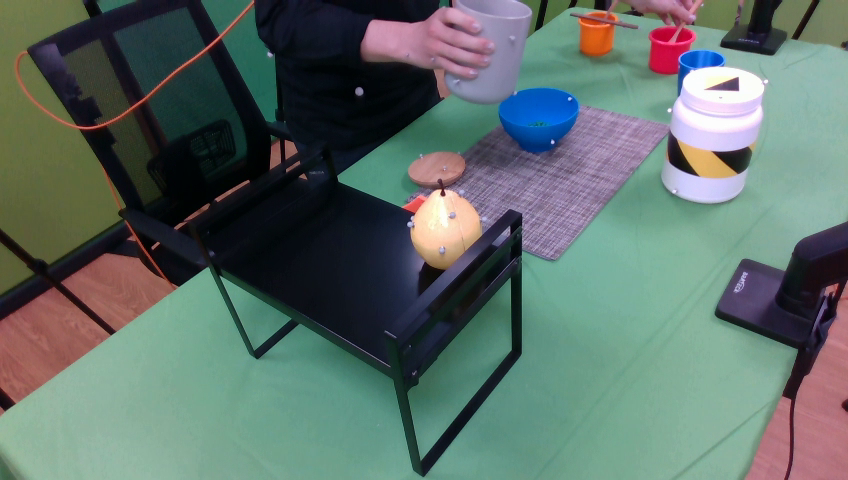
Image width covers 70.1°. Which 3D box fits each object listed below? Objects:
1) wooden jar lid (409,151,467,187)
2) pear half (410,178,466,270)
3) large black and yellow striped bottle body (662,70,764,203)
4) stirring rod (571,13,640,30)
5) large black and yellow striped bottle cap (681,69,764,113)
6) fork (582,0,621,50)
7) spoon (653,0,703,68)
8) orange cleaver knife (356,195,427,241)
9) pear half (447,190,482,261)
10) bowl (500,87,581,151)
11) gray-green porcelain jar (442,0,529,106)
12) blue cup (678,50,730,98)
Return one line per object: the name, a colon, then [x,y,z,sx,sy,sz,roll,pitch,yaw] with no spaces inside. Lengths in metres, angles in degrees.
wooden jar lid: [0.026,-0.131,1.124,0.108,0.021,0.108,-8,36,6]
pear half: [0.011,-0.019,0.654,0.056,0.110,0.076,-16,37,-9]
large black and yellow striped bottle body: [0.464,-0.166,0.976,0.131,0.185,0.130,-5,41,5]
stirring rod: [0.418,-0.508,1.404,0.174,0.006,0.014,28,54,35]
large black and yellow striped bottle cap: [0.453,-0.229,0.921,0.115,0.019,0.114,-4,39,4]
fork: [0.446,-0.539,1.438,0.207,0.019,0.028,-57,35,12]
spoon: [0.569,-0.464,1.338,0.041,0.022,0.193,36,100,34]
orange cleaver knife: [-0.037,-0.029,0.973,0.210,0.077,0.012,-8,33,50]
pear half: [0.046,-0.020,0.664,0.031,0.088,0.070,-17,38,-9]
bowl: [0.220,-0.223,1.156,0.151,0.077,0.150,-4,41,4]
gray-green porcelain jar: [0.081,-0.258,0.835,0.106,0.127,0.105,5,37,-3]
blue cup: [0.542,-0.310,1.194,0.092,0.101,0.092,-6,41,6]
